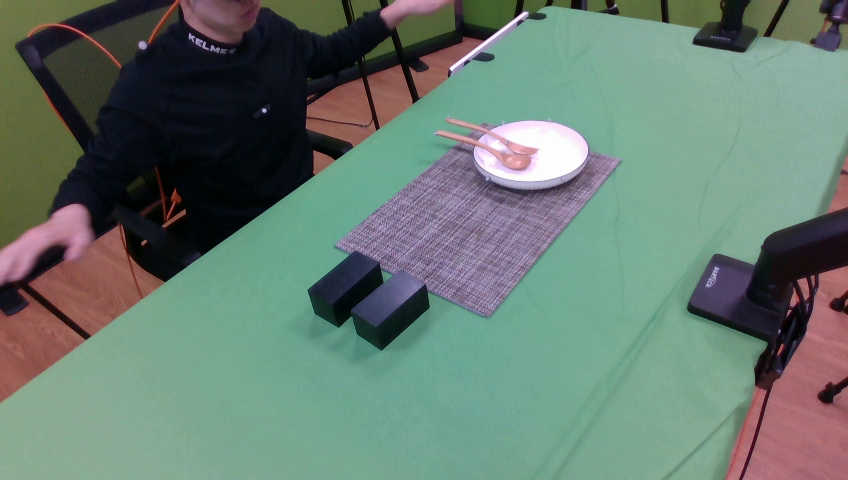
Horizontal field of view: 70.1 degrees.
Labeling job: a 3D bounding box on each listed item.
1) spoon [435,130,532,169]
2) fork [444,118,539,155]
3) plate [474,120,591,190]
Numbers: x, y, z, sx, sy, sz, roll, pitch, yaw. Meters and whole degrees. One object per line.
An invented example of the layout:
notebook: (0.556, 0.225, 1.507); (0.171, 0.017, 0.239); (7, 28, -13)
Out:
spoon: (0.107, -0.171, 1.112); (0.193, 0.022, 0.041); (25, 53, 15)
fork: (0.123, -0.198, 1.143); (0.206, 0.019, 0.028); (27, 55, 24)
plate: (0.196, -0.151, 1.099); (0.207, 0.039, 0.206); (-4, 40, 4)
